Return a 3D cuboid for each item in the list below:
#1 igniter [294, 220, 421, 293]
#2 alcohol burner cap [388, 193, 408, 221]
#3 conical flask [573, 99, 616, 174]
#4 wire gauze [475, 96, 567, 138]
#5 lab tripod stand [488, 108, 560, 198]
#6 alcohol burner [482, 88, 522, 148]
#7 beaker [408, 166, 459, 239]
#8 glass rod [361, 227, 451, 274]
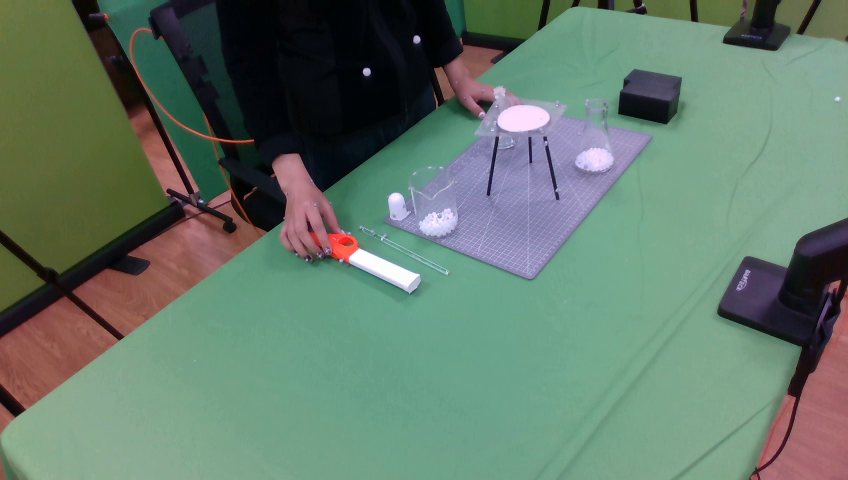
[{"bbox_3d":[-0.117,0.021,0.977,0.274,0.025,0.057,23,50,34],"label":"igniter"},{"bbox_3d":[-0.047,-0.059,1.043,0.034,0.048,0.033,-5,41,5],"label":"alcohol burner cap"},{"bbox_3d":[0.301,-0.184,1.061,0.075,0.122,0.075,-5,40,5],"label":"conical flask"},{"bbox_3d":[0.161,-0.201,0.994,0.121,0.011,0.125,11,43,23],"label":"wire gauze"},{"bbox_3d":[0.173,-0.150,1.037,0.148,0.132,0.147,-7,38,6],"label":"lab tripod stand"},{"bbox_3d":[0.149,-0.237,1.160,0.078,0.119,0.077,-4,40,4],"label":"alcohol burner"},{"bbox_3d":[0.018,-0.057,0.984,0.074,0.101,0.083,-6,41,6],"label":"beaker"},{"bbox_3d":[-0.033,0.014,0.985,0.198,0.008,0.008,26,52,34],"label":"glass rod"}]
